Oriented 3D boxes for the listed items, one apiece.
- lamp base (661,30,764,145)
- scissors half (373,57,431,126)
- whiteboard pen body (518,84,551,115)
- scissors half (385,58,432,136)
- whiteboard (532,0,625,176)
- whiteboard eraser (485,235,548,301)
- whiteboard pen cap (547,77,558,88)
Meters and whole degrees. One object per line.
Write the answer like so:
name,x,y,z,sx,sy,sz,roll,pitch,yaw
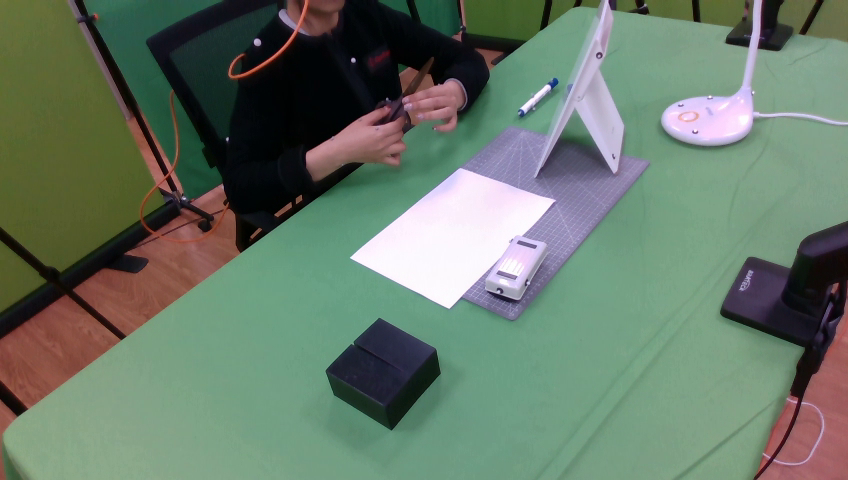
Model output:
lamp base,0.535,-0.287,1.096,0.179,0.181,0.159,-10,40,-4
scissors half,-0.040,-0.267,1.087,0.040,0.174,0.013,48,39,-5
whiteboard pen body,0.242,-0.306,1.289,0.017,0.017,0.141,24,52,33
scissors half,-0.025,-0.254,1.087,0.040,0.175,0.013,32,40,1
whiteboard,0.320,-0.259,1.050,0.144,0.306,0.217,21,45,5
whiteboard eraser,0.137,0.042,0.887,0.055,0.042,0.113,15,46,27
whiteboard pen cap,0.279,-0.341,1.321,0.018,0.018,0.033,22,52,31
